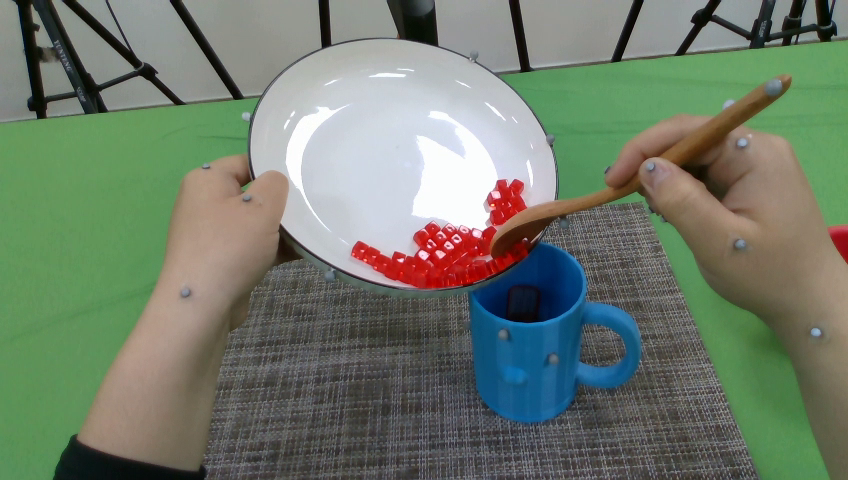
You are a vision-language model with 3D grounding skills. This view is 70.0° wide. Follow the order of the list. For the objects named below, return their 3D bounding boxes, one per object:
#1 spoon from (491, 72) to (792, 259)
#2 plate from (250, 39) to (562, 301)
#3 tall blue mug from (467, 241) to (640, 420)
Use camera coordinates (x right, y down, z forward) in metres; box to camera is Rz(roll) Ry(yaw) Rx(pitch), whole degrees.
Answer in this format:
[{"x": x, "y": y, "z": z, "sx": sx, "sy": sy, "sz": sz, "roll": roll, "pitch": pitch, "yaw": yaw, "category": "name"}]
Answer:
[{"x": 0.097, "y": -0.028, "z": 0.313, "sx": 0.042, "sy": 0.193, "sz": 0.021, "roll": -9, "pitch": 77, "yaw": -35, "category": "spoon"}, {"x": -0.010, "y": -0.050, "z": 0.414, "sx": 0.208, "sy": 0.039, "sz": 0.206, "roll": 6, "pitch": 60, "yaw": -10, "category": "plate"}, {"x": 0.086, "y": 0.062, "z": 0.423, "sx": 0.107, "sy": 0.109, "sz": 0.077, "roll": -9, "pitch": 42, "yaw": -1, "category": "tall blue mug"}]
